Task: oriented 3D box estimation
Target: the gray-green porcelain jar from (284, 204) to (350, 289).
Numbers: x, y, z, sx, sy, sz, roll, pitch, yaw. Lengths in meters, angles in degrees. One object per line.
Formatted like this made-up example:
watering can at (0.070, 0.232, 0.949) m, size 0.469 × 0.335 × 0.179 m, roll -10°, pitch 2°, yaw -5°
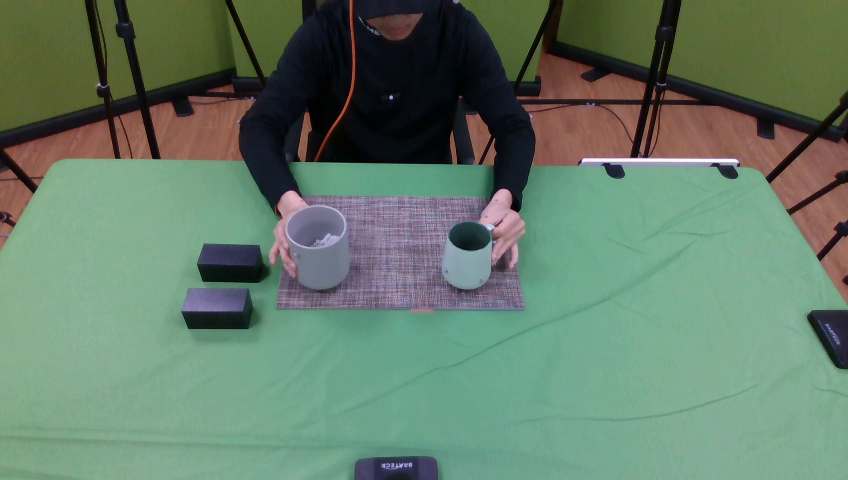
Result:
gray-green porcelain jar at (-0.187, 0.017, 1.078) m, size 0.106 × 0.127 × 0.105 m, roll 1°, pitch 48°, yaw -1°

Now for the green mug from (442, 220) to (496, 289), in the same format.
green mug at (0.090, 0.018, 1.110) m, size 0.092 × 0.105 × 0.125 m, roll 32°, pitch 52°, yaw 26°
